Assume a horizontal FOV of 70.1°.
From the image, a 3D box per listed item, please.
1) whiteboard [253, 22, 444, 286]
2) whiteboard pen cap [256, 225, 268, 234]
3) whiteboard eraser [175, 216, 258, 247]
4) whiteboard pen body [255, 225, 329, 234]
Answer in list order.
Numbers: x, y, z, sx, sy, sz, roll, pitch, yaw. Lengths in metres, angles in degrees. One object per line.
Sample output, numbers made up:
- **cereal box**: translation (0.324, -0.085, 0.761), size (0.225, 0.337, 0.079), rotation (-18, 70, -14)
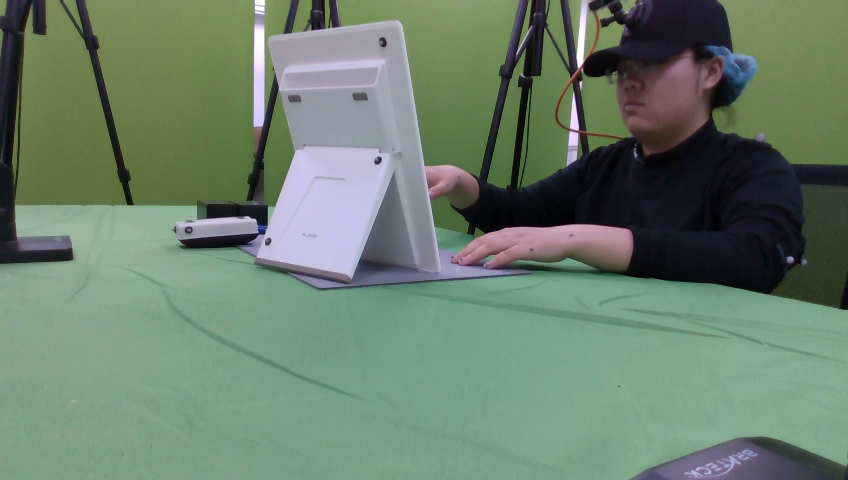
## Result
- **whiteboard**: translation (-0.125, -0.081, 0.715), size (0.216, 0.305, 0.144), rotation (9, 29, 36)
- **whiteboard pen cap**: translation (-0.288, -0.019, 1.072), size (0.033, 0.018, 0.018), rotation (-4, 10, -34)
- **whiteboard eraser**: translation (-0.313, -0.012, 0.915), size (0.113, 0.042, 0.055), rotation (-5, 12, -30)
- **whiteboard pen body**: translation (-0.239, -0.019, 1.105), size (0.141, 0.017, 0.017), rotation (-2, 9, -34)
